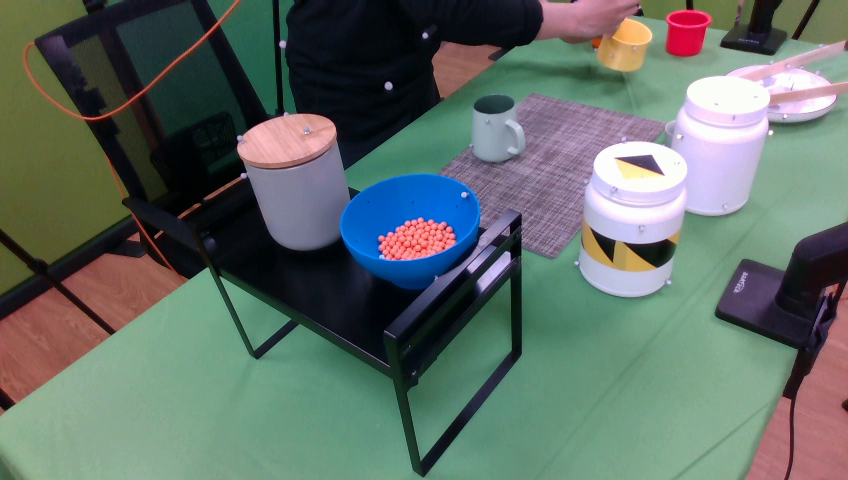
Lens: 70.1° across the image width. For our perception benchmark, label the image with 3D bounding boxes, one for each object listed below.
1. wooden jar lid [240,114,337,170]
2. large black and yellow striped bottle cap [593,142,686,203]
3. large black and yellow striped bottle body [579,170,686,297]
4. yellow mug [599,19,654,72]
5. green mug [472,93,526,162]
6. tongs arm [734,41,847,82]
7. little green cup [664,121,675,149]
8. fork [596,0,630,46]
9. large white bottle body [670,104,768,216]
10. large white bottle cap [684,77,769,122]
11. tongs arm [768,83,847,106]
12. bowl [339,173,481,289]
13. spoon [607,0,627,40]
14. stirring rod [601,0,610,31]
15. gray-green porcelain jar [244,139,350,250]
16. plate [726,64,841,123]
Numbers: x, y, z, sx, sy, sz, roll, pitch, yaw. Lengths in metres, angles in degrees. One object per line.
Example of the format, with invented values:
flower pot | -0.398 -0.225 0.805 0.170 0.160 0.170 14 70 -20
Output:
wooden jar lid | -0.149 -0.106 0.673 0.108 0.021 0.108 -6 39 5
large black and yellow striped bottle cap | 0.280 -0.090 0.786 0.115 0.019 0.114 -5 41 5
large black and yellow striped bottle body | 0.287 -0.027 0.841 0.131 0.185 0.130 -4 40 4
yellow mug | 0.424 -0.423 1.290 0.100 0.064 0.130 -8 50 -9
green mug | 0.144 -0.202 1.122 0.093 0.105 0.124 -29 45 -23
tongs arm | 0.712 -0.332 1.194 0.386 0.026 0.050 -18 45 -16
little green cup | 0.472 -0.188 1.113 0.061 0.039 0.061 -4 40 4
fork | 0.481 -0.556 1.452 0.028 0.019 0.207 40 103 37
large white bottle body | 0.458 -0.146 0.952 0.130 0.185 0.130 -4 40 4
large white bottle cap | 0.448 -0.209 0.898 0.115 0.018 0.114 -4 40 4
tongs arm | 0.738 -0.281 1.134 0.388 0.028 0.028 -9 47 -5
bowl | -0.011 0.001 0.660 0.151 0.077 0.150 -5 41 5
spoon | 0.384 -0.451 1.147 0.021 0.194 0.041 19 69 8
stirring rod | 0.439 -0.552 1.463 0.014 0.006 0.175 -7 83 3
gray-green porcelain jar | -0.144 -0.060 0.714 0.106 0.127 0.105 -4 41 4
plate | 0.695 -0.282 1.189 0.207 0.039 0.206 -4 40 4
